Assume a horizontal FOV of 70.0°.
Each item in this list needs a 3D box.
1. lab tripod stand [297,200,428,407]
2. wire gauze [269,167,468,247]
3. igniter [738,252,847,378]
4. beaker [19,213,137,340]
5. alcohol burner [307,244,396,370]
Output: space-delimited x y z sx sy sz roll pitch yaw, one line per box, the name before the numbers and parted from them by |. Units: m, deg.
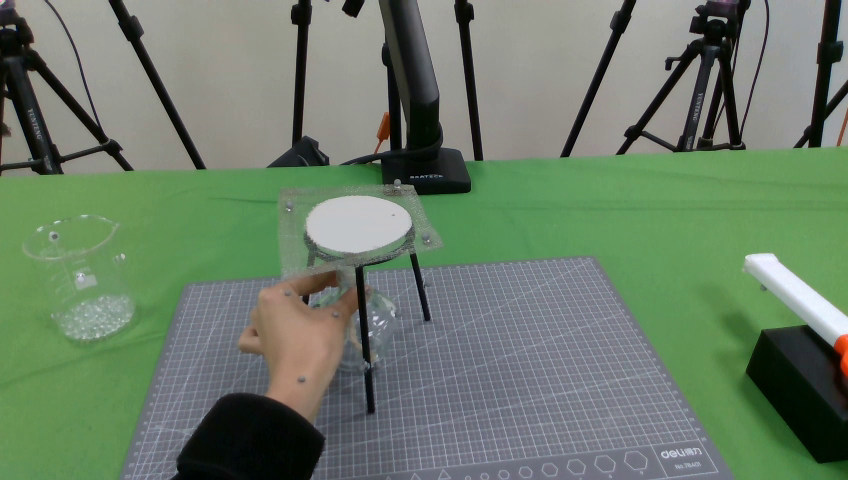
lab tripod stand | -0.052 0.045 0.520 0.148 0.132 0.147 2 34 -1
wire gauze | -0.047 -0.027 0.478 0.125 0.011 0.120 -12 30 -31
igniter | 0.345 0.087 0.482 0.057 0.025 0.273 -4 30 -8
beaker | -0.314 0.035 0.566 0.073 0.101 0.084 27 41 34
alcohol burner | -0.063 0.054 0.525 0.078 0.120 0.077 3 33 -1
